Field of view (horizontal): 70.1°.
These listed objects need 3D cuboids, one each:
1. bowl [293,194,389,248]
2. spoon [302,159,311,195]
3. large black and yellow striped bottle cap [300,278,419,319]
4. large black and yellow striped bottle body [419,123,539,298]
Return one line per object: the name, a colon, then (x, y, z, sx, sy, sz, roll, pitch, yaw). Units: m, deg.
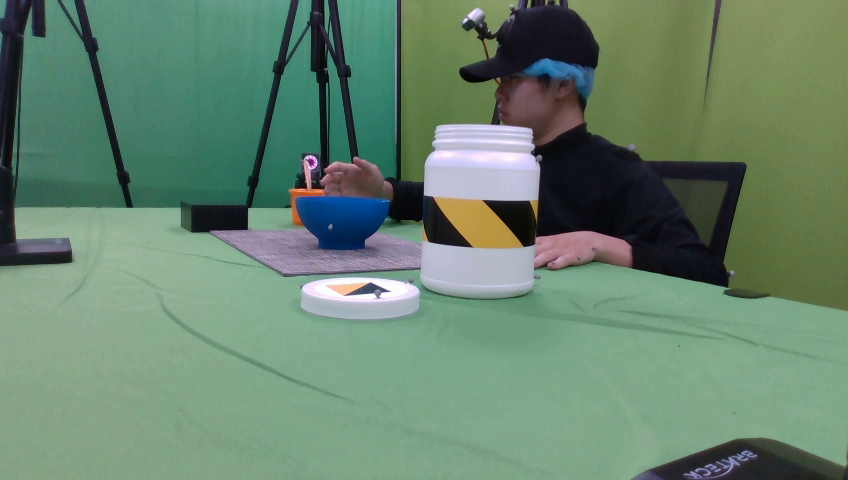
bowl: (-0.132, -0.030, 0.961, 0.151, 0.077, 0.151, 2, 7, 0)
spoon: (-0.257, -0.113, 1.341, 0.042, 0.193, 0.021, 3, -38, -19)
large black and yellow striped bottle cap: (-0.062, 0.055, 0.588, 0.115, 0.019, 0.115, 1, 6, 0)
large black and yellow striped bottle body: (0.062, -0.036, 0.683, 0.131, 0.184, 0.130, 2, 7, 0)
